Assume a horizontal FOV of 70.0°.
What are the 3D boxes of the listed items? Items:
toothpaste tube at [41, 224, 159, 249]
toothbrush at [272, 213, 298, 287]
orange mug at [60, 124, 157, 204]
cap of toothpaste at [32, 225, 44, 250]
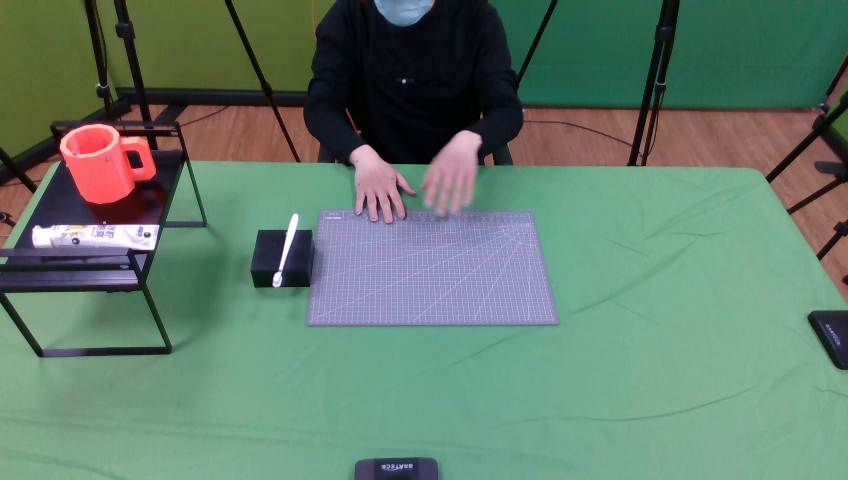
[{"bbox_3d":[-0.491,-0.004,0.913,0.165,0.035,0.054,-2,50,-12],"label":"toothpaste tube"},{"bbox_3d":[-0.252,0.012,1.104,0.014,0.017,0.181,2,46,1],"label":"toothbrush"},{"bbox_3d":[-0.505,-0.127,0.980,0.126,0.101,0.083,-13,48,-10],"label":"orange mug"},{"bbox_3d":[-0.568,-0.004,0.899,0.011,0.037,0.037,-1,46,-11],"label":"cap of toothpaste"}]
